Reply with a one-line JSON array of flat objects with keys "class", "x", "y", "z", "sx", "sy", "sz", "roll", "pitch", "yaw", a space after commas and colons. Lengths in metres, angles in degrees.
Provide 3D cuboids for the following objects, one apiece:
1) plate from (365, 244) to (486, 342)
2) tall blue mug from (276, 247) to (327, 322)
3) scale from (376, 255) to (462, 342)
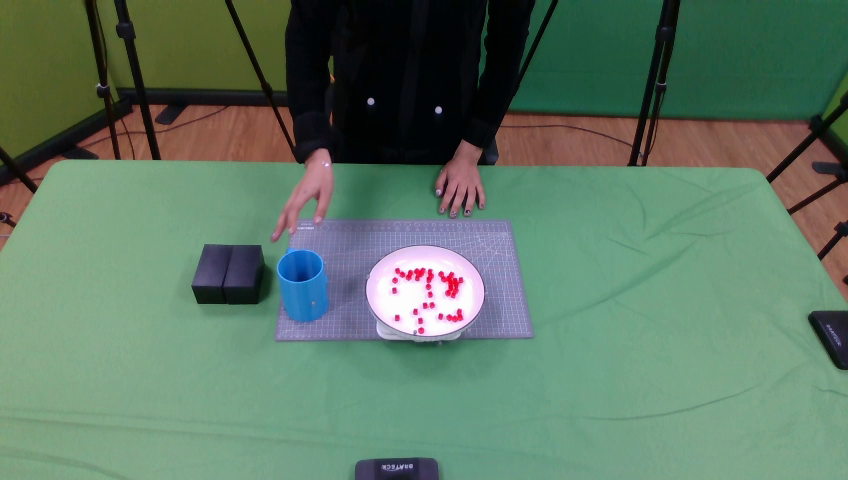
[{"class": "plate", "x": 0.001, "y": 0.093, "z": 1.051, "sx": 0.209, "sy": 0.038, "sz": 0.208, "roll": 1, "pitch": 46, "yaw": -1}, {"class": "tall blue mug", "x": -0.221, "y": 0.072, "z": 1.049, "sx": 0.107, "sy": 0.108, "sz": 0.077, "roll": 30, "pitch": 52, "yaw": 23}, {"class": "scale", "x": -0.010, "y": 0.096, "z": 1.094, "sx": 0.149, "sy": 0.032, "sz": 0.199, "roll": 2, "pitch": 46, "yaw": -3}]
